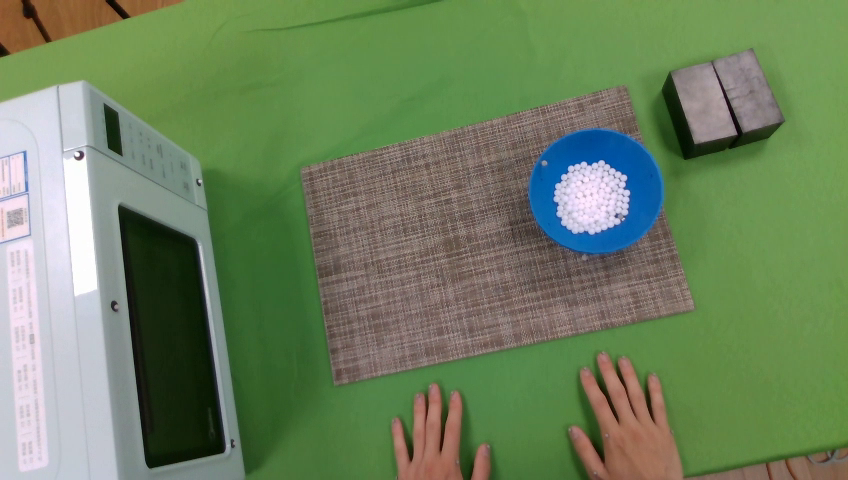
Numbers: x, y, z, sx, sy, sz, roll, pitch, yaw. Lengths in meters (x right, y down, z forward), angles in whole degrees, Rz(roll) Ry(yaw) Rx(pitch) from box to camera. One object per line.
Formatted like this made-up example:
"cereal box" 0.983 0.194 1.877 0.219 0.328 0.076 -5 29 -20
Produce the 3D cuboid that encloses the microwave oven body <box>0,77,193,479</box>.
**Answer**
"microwave oven body" -0.442 0.101 0.700 0.326 0.261 0.439 -15 76 5

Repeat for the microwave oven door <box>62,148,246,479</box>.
"microwave oven door" -0.292 0.103 0.672 0.039 0.245 0.353 -15 76 6

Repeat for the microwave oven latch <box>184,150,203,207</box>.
"microwave oven latch" -0.323 -0.081 0.822 0.030 0.029 0.078 -15 77 5

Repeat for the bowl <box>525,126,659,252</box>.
"bowl" 0.197 -0.053 0.728 0.151 0.077 0.150 -2 78 9
